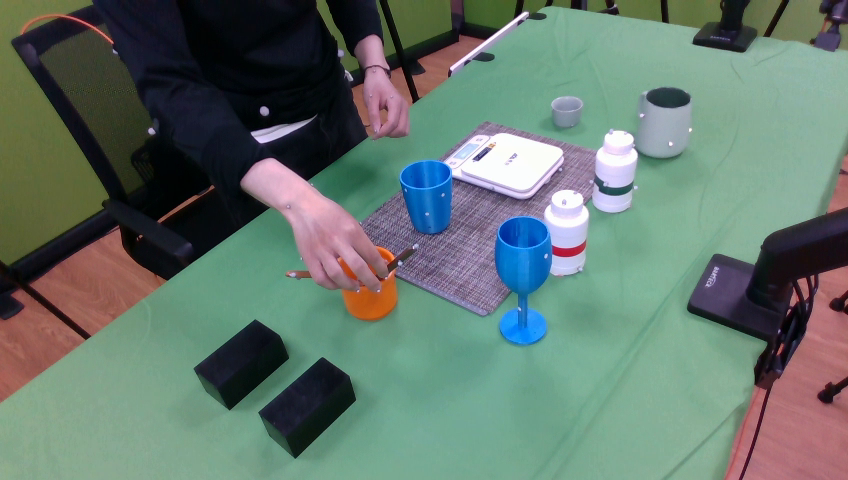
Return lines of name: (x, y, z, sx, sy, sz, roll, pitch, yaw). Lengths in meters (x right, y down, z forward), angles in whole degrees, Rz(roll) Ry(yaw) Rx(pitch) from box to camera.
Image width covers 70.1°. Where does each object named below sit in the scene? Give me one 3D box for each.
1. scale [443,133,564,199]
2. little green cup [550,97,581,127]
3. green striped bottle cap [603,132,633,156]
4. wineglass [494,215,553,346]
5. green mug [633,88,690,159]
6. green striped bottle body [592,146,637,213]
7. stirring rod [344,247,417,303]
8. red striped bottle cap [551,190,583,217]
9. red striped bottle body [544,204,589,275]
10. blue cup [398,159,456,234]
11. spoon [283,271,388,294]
scale: (0.137, -0.142, 1.101, 0.199, 0.032, 0.149, 22, 48, 30)
little green cup: (0.284, -0.255, 1.213, 0.061, 0.039, 0.061, -5, 41, 5)
green striped bottle cap: (0.302, -0.149, 0.939, 0.044, 0.020, 0.044, -3, 40, 3)
wineglass: (0.127, 0.055, 0.770, 0.074, 0.173, 0.073, -4, 40, 4)
green mug: (0.423, -0.217, 1.099, 0.093, 0.105, 0.124, -16, 41, -9)
green striped bottle body: (0.307, -0.108, 0.976, 0.063, 0.120, 0.063, -4, 41, 4)
stirring rod: (-0.062, 0.050, 0.819, 0.014, 0.175, 0.006, 1, 62, -39)
red striped bottle cap: (0.200, -0.052, 0.843, 0.044, 0.018, 0.044, -3, 41, 3)
red striped bottle body: (0.206, -0.011, 0.877, 0.063, 0.120, 0.062, -5, 41, 4)
blue cup: (0.006, -0.065, 0.977, 0.092, 0.100, 0.092, -4, 39, 3)
spoon: (-0.117, 0.054, 0.824, 0.041, 0.195, 0.021, 21, 91, 37)
